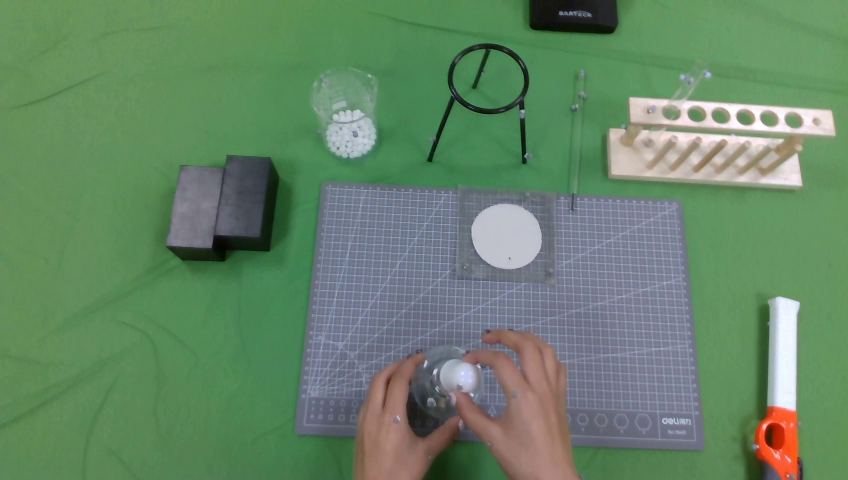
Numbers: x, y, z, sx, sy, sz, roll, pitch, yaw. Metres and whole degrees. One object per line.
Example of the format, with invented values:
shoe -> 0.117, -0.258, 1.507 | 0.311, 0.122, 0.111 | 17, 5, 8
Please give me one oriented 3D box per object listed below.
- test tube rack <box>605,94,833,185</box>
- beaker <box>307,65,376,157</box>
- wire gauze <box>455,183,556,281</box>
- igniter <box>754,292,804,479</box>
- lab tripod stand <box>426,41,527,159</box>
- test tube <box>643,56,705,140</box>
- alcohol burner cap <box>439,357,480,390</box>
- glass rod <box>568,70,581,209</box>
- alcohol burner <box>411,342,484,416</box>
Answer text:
test tube rack -> 0.356, -0.121, 0.743 | 0.242, 0.085, 0.066 | 3, 71, -1
beaker -> -0.093, -0.152, 0.729 | 0.084, 0.101, 0.073 | -35, 76, -13
wire gauze -> 0.099, -0.013, 0.736 | 0.125, 0.011, 0.120 | 4, 71, 0
igniter -> 0.394, 0.193, 0.672 | 0.057, 0.025, 0.275 | 15, 72, -8
lab tripod stand -> 0.065, -0.163, 0.721 | 0.148, 0.132, 0.147 | 0, 70, 0
test tube -> 0.285, -0.159, 0.701 | 0.017, 0.151, 0.017 | 0, 68, -1
alcohol burner cap -> 0.036, 0.127, 0.573 | 0.034, 0.048, 0.033 | 2, 82, -15
glass rod -> 0.195, -0.133, 0.780 | 0.008, 0.008, 0.198 | 8, 73, 0
alcohol burner -> 0.026, 0.141, 0.627 | 0.078, 0.120, 0.077 | 1, 70, -3
